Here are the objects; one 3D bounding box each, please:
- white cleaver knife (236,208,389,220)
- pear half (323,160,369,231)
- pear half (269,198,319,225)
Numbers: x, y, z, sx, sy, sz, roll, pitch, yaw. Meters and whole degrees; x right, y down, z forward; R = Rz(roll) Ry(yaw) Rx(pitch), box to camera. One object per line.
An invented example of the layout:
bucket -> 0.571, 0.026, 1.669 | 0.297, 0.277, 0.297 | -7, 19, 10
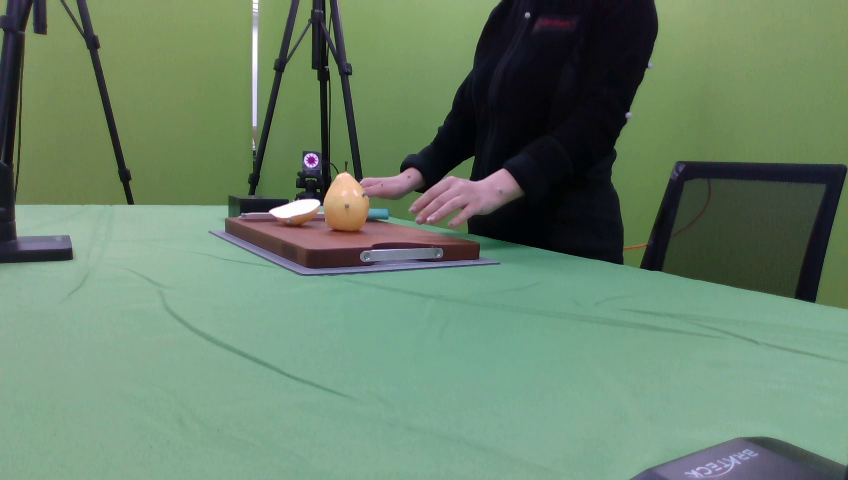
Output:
white cleaver knife -> -0.194, -0.049, 1.104 | 0.288, 0.021, 0.065 | 0, -1, -32
pear half -> -0.114, -0.068, 0.938 | 0.056, 0.110, 0.076 | 6, 12, 27
pear half -> -0.212, -0.042, 0.995 | 0.088, 0.031, 0.070 | -10, 19, 20
